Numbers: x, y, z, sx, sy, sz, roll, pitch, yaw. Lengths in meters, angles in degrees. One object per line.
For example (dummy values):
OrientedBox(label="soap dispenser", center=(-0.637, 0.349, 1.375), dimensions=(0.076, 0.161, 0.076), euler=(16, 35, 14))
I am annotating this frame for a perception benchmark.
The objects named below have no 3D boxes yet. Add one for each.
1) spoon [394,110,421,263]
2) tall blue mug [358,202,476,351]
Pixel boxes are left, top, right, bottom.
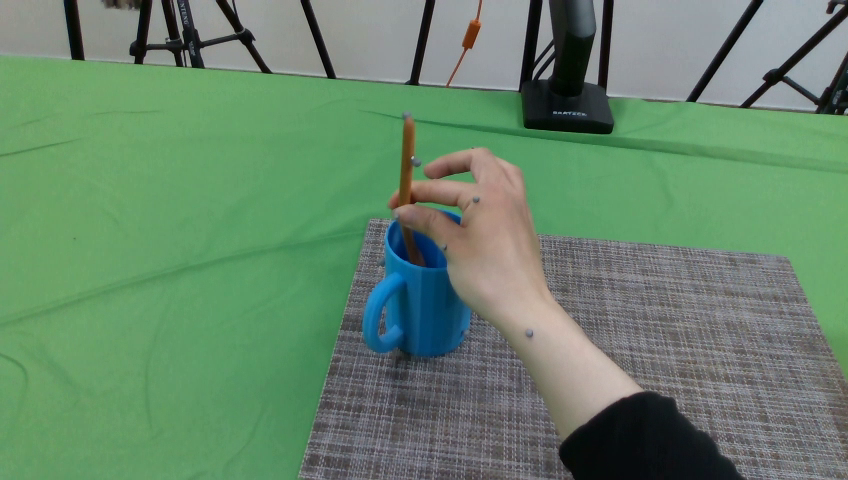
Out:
OrientedBox(label="spoon", center=(-0.014, -0.015, 0.465), dimensions=(0.021, 0.195, 0.041), euler=(-2, 47, 1))
OrientedBox(label="tall blue mug", center=(-0.003, 0.043, 0.509), dimensions=(0.077, 0.109, 0.106), euler=(12, 43, 8))
